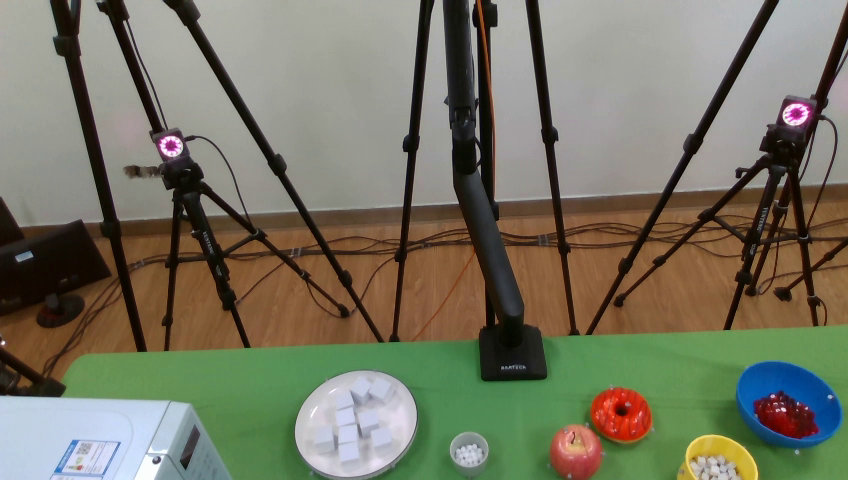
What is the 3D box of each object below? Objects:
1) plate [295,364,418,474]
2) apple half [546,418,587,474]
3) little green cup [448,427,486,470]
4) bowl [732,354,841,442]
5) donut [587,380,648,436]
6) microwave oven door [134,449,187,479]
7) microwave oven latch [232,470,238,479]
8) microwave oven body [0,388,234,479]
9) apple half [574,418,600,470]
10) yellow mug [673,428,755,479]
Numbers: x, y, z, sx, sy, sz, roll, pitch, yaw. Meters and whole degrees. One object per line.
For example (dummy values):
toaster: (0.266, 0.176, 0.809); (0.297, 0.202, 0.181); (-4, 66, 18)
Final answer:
plate: (-0.112, 0.305, 1.030); (0.207, 0.039, 0.205); (-3, 41, 3)
apple half: (0.218, 0.324, 0.945); (0.053, 0.075, 0.080); (-11, 45, 1)
little green cup: (0.070, 0.336, 0.973); (0.061, 0.039, 0.061); (-3, 41, 3)
bowl: (0.566, 0.266, 0.969); (0.151, 0.077, 0.150); (-4, 41, 3)
donut: (0.321, 0.279, 1.008); (0.099, 0.049, 0.098); (-4, 43, 4)
microwave oven door: (-0.336, 0.459, 0.691); (0.039, 0.246, 0.352); (0, 41, 6)
microwave oven latch: (-0.308, 0.392, 0.922); (0.030, 0.030, 0.078); (2, 42, 7)
microwave oven body: (-0.477, 0.437, 0.741); (0.326, 0.262, 0.437); (0, 42, 6)
apple half: (0.257, 0.318, 0.946); (0.033, 0.082, 0.080); (-11, 41, 1)
yellow mug: (0.420, 0.349, 0.898); (0.131, 0.064, 0.099); (-32, 48, -26)
